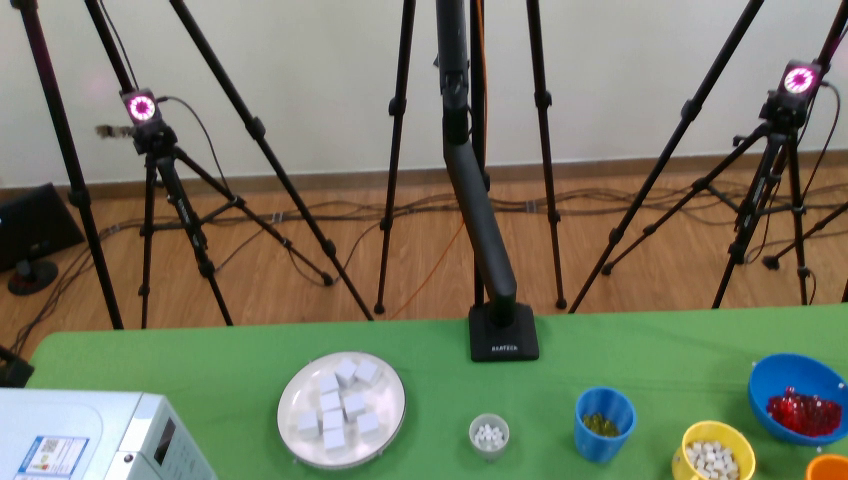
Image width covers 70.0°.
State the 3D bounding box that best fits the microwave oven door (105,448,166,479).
[{"bbox_3d":[-0.346,0.444,0.656,0.039,0.246,0.352,0,45,5],"label":"microwave oven door"}]

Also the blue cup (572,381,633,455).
[{"bbox_3d":[0.261,0.275,0.910,0.092,0.101,0.091,-2,46,2],"label":"blue cup"}]

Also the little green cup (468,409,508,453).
[{"bbox_3d":[0.099,0.300,0.942,0.061,0.039,0.061,-2,44,2],"label":"little green cup"}]

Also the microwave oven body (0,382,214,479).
[{"bbox_3d":[-0.488,0.418,0.701,0.326,0.262,0.437,1,46,4],"label":"microwave oven body"}]

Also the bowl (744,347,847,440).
[{"bbox_3d":[0.564,0.248,0.932,0.151,0.077,0.150,-2,45,3],"label":"bowl"}]

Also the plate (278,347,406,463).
[{"bbox_3d":[-0.131,0.269,0.990,0.207,0.039,0.205,-2,45,2],"label":"plate"}]

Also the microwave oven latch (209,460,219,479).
[{"bbox_3d":[-0.324,0.363,0.882,0.030,0.030,0.078,2,46,5],"label":"microwave oven latch"}]

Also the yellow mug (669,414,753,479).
[{"bbox_3d":[0.404,0.322,0.877,0.131,0.064,0.099,-34,52,-25],"label":"yellow mug"}]
